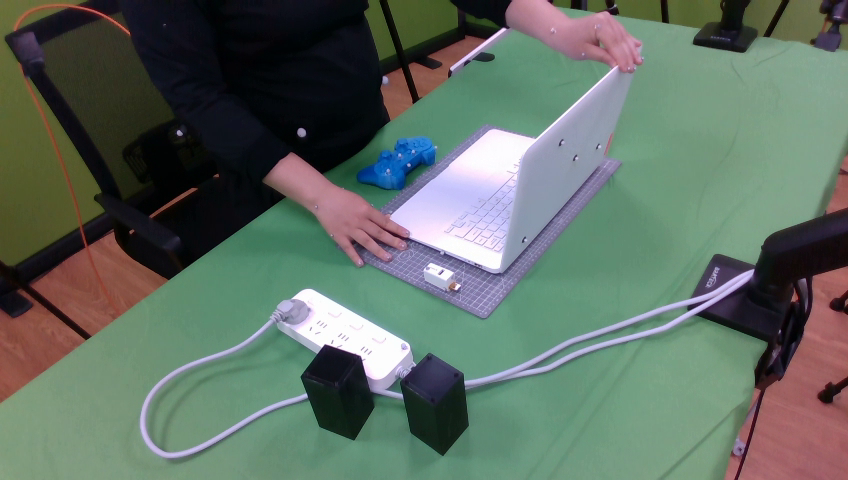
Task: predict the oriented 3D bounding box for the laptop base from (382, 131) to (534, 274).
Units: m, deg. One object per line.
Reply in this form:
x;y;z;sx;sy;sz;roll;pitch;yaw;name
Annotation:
0.124;-0.081;1.048;0.233;0.023;0.355;20;47;33;laptop base

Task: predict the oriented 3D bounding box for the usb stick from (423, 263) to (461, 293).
0.028;0.058;0.888;0.059;0.027;0.021;24;46;28;usb stick

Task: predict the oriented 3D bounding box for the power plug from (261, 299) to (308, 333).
-0.193;0.110;0.830;0.073;0.053;0.035;-36;48;-23;power plug

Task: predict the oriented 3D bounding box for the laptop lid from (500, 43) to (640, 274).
0.222;-0.125;0.904;0.013;0.242;0.358;29;50;23;laptop lid

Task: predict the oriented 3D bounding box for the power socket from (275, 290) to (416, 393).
-0.114;0.133;0.820;0.225;0.033;0.072;24;48;31;power socket

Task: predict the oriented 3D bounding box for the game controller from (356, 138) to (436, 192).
-0.048;-0.149;1.136;0.096;0.052;0.155;27;51;28;game controller
